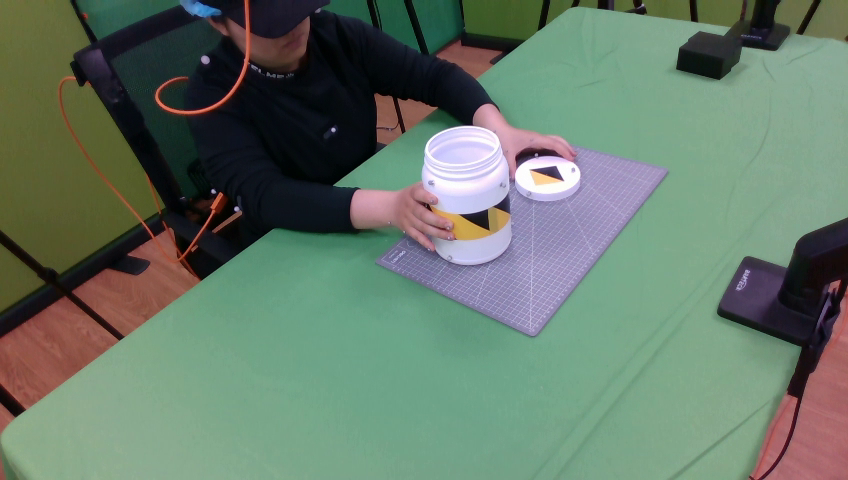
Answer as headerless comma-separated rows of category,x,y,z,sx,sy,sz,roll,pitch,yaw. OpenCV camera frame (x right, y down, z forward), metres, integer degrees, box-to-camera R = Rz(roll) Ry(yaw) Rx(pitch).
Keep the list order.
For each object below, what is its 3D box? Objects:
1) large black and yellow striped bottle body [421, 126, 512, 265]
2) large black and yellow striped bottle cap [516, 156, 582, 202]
large black and yellow striped bottle body,0.066,-0.068,0.920,0.131,0.185,0.130,-5,40,5
large black and yellow striped bottle cap,0.221,-0.110,1.071,0.115,0.019,0.114,-6,41,5
